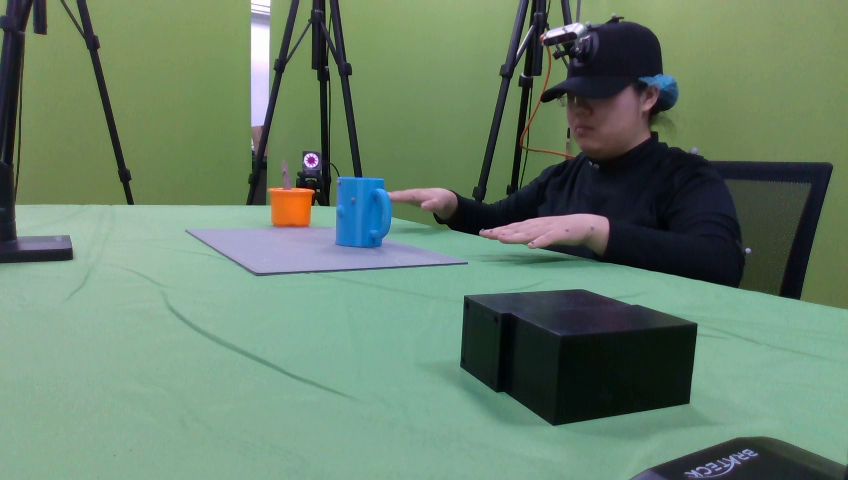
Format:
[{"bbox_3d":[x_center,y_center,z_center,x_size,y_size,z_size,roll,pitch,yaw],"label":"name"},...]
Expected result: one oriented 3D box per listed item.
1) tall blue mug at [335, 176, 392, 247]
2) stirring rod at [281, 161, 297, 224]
[{"bbox_3d":[-0.089,-0.046,0.971,0.107,0.108,0.078,5,7,20],"label":"tall blue mug"},{"bbox_3d":[-0.278,-0.099,1.239,0.014,0.006,0.175,2,49,-25],"label":"stirring rod"}]
